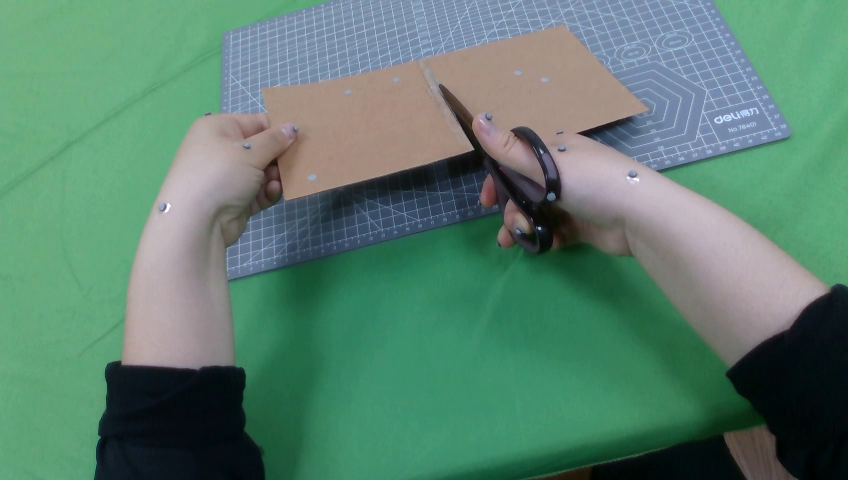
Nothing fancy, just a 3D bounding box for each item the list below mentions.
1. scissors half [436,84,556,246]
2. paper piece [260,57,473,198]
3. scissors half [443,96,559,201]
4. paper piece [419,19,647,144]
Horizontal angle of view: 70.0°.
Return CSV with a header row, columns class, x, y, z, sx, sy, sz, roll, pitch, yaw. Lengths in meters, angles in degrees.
class,x,y,z,sx,sy,sz,roll,pitch,yaw
scissors half,0.044,-0.060,0.431,0.013,0.040,0.173,-21,57,-11
paper piece,-0.049,-0.092,0.456,0.138,0.009,0.134,-16,44,-7
scissors half,0.042,-0.076,0.415,0.013,0.040,0.173,-17,33,-15
paper piece,0.081,-0.130,0.482,0.135,0.004,0.134,-18,51,-11
